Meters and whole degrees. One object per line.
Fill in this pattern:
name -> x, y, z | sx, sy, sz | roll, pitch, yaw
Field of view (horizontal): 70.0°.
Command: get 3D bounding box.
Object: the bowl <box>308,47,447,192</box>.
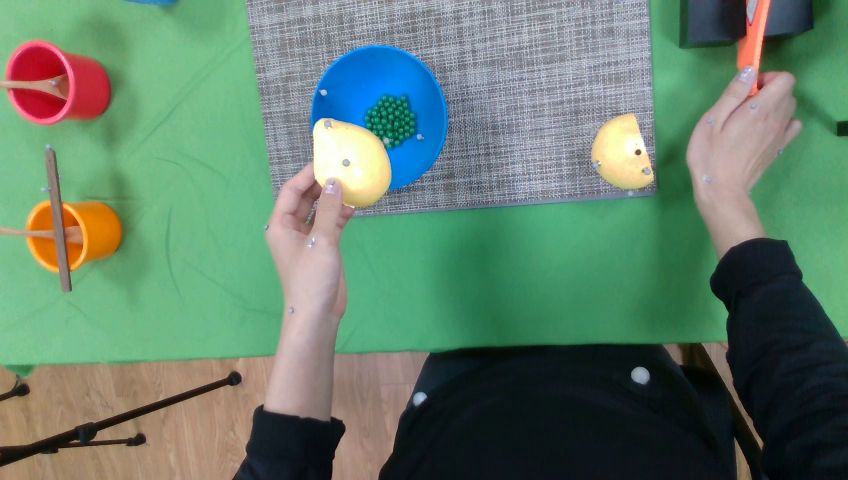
bowl -> -0.043, -0.130, 0.670 | 0.151, 0.077, 0.152 | 2, 100, 12

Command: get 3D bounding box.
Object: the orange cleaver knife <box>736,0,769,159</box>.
orange cleaver knife -> 0.314, -0.181, 0.586 | 0.012, 0.076, 0.213 | -5, 128, 14

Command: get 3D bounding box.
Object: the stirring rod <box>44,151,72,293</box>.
stirring rod -> -0.448, -0.020, 0.741 | 0.014, 0.006, 0.176 | 1, 100, 9

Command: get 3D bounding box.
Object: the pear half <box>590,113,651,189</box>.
pear half -> 0.197, -0.085, 0.610 | 0.056, 0.110, 0.076 | -23, 90, 16

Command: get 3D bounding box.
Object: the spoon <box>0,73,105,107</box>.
spoon -> -0.493, -0.185, 0.728 | 0.195, 0.021, 0.042 | -5, 103, -31

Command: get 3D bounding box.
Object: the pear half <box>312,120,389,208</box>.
pear half -> -0.064, -0.070, 0.543 | 0.070, 0.031, 0.088 | -46, 115, -22

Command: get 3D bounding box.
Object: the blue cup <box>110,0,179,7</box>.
blue cup -> -0.325, -0.308, 0.691 | 0.092, 0.100, 0.093 | 2, 101, 11

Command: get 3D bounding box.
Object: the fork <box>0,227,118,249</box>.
fork -> -0.498, -0.009, 0.756 | 0.209, 0.018, 0.028 | 6, 114, -33
